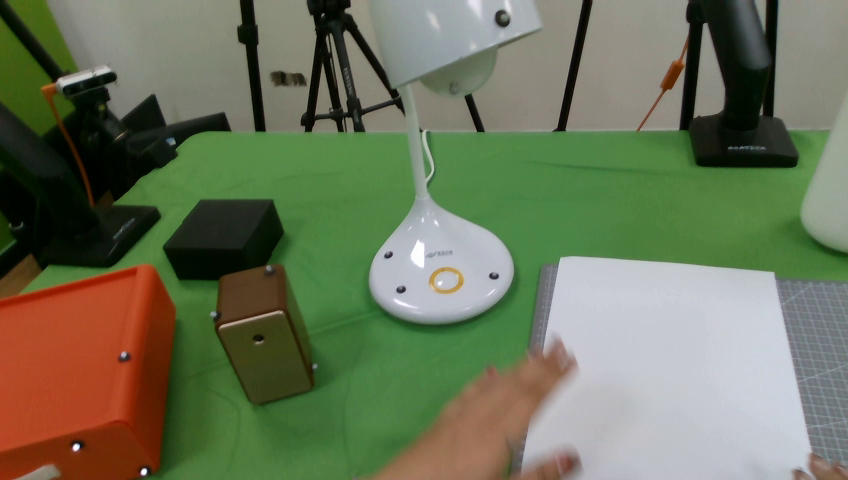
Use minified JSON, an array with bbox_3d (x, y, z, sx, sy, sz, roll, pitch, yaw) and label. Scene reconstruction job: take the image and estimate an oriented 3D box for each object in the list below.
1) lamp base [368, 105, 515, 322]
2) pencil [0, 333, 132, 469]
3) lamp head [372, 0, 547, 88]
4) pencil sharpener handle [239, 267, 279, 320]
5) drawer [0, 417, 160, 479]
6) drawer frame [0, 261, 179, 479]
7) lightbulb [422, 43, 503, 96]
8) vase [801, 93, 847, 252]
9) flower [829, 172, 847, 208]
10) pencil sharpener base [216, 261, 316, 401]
[{"bbox_3d":[0.005,-0.036,0.628,0.161,0.182,0.177,-16,35,-9],"label":"lamp base"},{"bbox_3d":[-0.333,0.156,0.535,0.012,0.012,0.193,19,57,32],"label":"pencil"},{"bbox_3d":[0.010,-0.176,0.407,0.112,0.123,0.112,-23,8,4],"label":"lamp head"},{"bbox_3d":[-0.159,0.046,0.594,0.036,0.068,0.030,-9,36,-10],"label":"pencil sharpener handle"},{"bbox_3d":[-0.342,0.136,0.557,0.195,0.074,0.209,-15,36,-7],"label":"drawer"},{"bbox_3d":[-0.345,0.133,0.558,0.202,0.083,0.211,-15,37,-7],"label":"drawer frame"},{"bbox_3d":[0.019,-0.152,0.406,0.059,0.108,0.059,-11,13,3],"label":"lightbulb"},{"bbox_3d":[0.439,-0.085,0.588,0.098,0.202,0.097,-6,36,5],"label":"vase"},{"bbox_3d":[0.418,-0.138,0.524,0.038,0.365,0.043,-36,56,-11],"label":"flower"},{"bbox_3d":[-0.144,0.084,0.561,0.061,0.108,0.076,-14,37,-6],"label":"pencil sharpener base"}]
